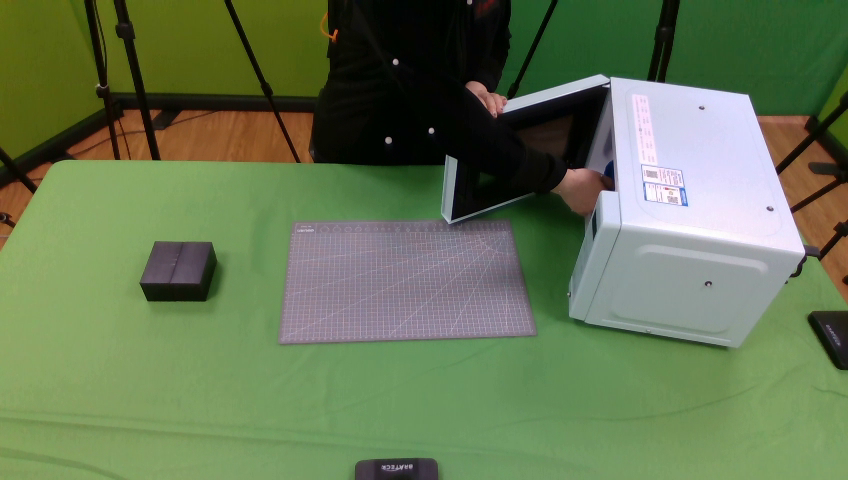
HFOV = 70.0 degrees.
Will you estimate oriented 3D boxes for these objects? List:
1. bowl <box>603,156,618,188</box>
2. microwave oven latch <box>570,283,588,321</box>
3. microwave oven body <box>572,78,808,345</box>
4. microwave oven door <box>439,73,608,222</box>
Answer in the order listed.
[{"bbox_3d":[0.419,-0.094,1.194,0.151,0.077,0.150,3,48,-4],"label":"bowl"},{"bbox_3d":[0.276,0.106,1.082,0.030,0.029,0.079,10,45,6],"label":"microwave oven latch"},{"bbox_3d":[0.456,-0.063,1.124,0.326,0.261,0.439,8,45,5],"label":"microwave oven body"},{"bbox_3d":[0.199,-0.185,1.215,0.356,0.245,0.039,-20,51,-22],"label":"microwave oven door"}]
